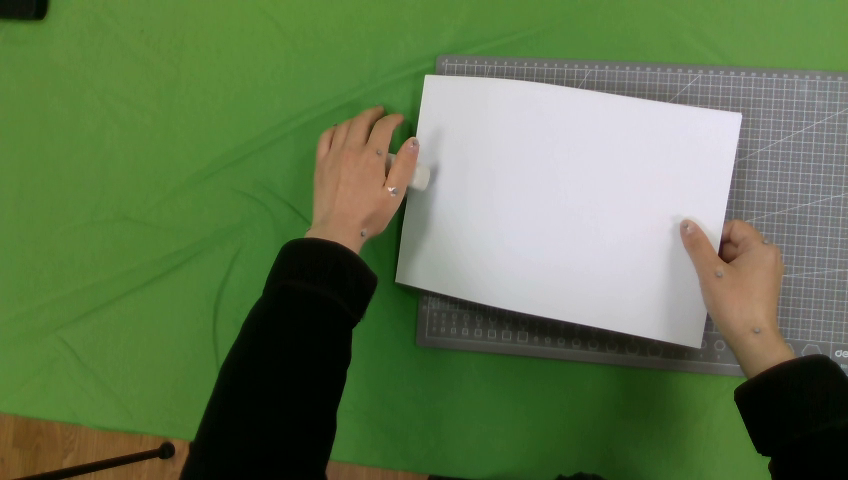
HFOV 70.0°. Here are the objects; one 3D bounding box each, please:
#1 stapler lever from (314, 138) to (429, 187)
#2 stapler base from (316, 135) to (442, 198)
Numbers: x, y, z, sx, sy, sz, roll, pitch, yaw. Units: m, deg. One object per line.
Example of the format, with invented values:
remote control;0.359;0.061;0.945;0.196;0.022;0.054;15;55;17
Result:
stapler lever;-0.053;-0.077;0.591;0.118;0.040;0.027;14;87;8
stapler base;-0.048;-0.076;0.615;0.130;0.024;0.041;14;87;8
